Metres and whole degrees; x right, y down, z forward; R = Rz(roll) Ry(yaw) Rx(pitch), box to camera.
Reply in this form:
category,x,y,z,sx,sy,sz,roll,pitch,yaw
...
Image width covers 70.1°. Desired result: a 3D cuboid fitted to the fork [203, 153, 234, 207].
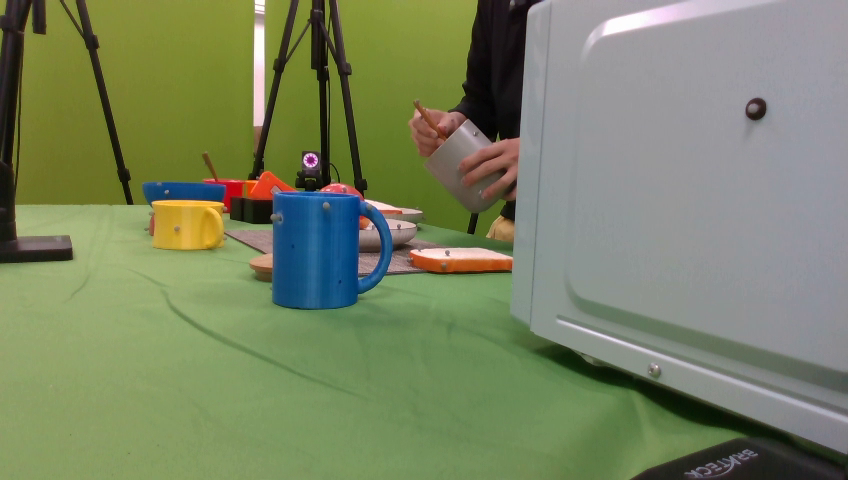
category,x,y,z,sx,sy,sz,roll,pitch,yaw
fork,-0.480,-0.135,1.411,0.028,0.018,0.207,1,-34,0

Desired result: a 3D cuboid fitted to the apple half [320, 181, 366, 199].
category,x,y,z,sx,sy,sz,roll,pitch,yaw
apple half,-0.130,-0.077,0.952,0.081,0.033,0.081,3,15,-1

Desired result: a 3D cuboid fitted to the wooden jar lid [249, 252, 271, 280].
category,x,y,z,sx,sy,sz,roll,pitch,yaw
wooden jar lid,-0.148,0.028,0.708,0.108,0.020,0.108,-1,9,0

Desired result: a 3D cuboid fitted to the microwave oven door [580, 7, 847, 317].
category,x,y,z,sx,sy,sz,roll,pitch,yaw
microwave oven door,0.295,-0.067,0.570,0.358,0.243,0.039,-3,8,-31

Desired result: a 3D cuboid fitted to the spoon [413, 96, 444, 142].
category,x,y,z,sx,sy,sz,roll,pitch,yaw
spoon,0.033,-0.147,0.978,0.021,0.194,0.041,-27,14,2

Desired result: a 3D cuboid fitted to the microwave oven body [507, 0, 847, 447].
category,x,y,z,sx,sy,sz,roll,pitch,yaw
microwave oven body,0.331,-0.042,0.425,0.444,0.260,0.324,-2,8,-31

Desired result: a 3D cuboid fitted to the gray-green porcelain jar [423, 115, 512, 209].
category,x,y,z,sx,sy,sz,roll,pitch,yaw
gray-green porcelain jar,0.079,-0.121,0.978,0.126,0.106,0.106,44,6,-5

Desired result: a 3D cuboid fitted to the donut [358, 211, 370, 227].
category,x,y,z,sx,sy,sz,roll,pitch,yaw
donut,-0.132,-0.042,0.959,0.099,0.048,0.099,3,7,0

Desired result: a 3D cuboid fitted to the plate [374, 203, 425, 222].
category,x,y,z,sx,sy,sz,roll,pitch,yaw
plate,-0.102,-0.053,1.299,0.209,0.038,0.209,2,8,0

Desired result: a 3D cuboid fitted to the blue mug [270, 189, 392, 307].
category,x,y,z,sx,sy,sz,roll,pitch,yaw
blue mug,-0.090,0.005,0.588,0.117,0.106,0.082,1,7,-11

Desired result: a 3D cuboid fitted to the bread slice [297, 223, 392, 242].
category,x,y,z,sx,sy,sz,roll,pitch,yaw
bread slice,-0.121,-0.013,0.970,0.106,0.018,0.135,9,10,41

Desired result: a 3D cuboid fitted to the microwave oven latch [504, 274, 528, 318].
category,x,y,z,sx,sy,sz,roll,pitch,yaw
microwave oven latch,0.100,0.041,0.471,0.079,0.029,0.030,-1,7,-27

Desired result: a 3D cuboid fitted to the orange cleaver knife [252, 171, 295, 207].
category,x,y,z,sx,sy,sz,roll,pitch,yaw
orange cleaver knife,-0.283,-0.087,1.343,0.212,0.077,0.012,24,-16,-41

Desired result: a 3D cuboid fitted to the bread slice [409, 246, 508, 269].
category,x,y,z,sx,sy,sz,roll,pitch,yaw
bread slice,0.048,0.021,0.816,0.132,0.019,0.104,0,7,-24

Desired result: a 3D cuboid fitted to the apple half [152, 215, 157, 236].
category,x,y,z,sx,sy,sz,roll,pitch,yaw
apple half,-0.415,-0.034,1.017,0.081,0.053,0.074,1,10,-9

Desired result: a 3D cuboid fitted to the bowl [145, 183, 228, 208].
category,x,y,z,sx,sy,sz,roll,pitch,yaw
bowl,-0.459,-0.069,1.175,0.151,0.077,0.151,2,7,0

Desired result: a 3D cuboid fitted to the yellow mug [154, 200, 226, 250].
category,x,y,z,sx,sy,sz,roll,pitch,yaw
yellow mug,-0.337,-0.022,0.899,0.130,0.064,0.100,8,9,34

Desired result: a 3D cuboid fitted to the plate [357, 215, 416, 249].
category,x,y,z,sx,sy,sz,roll,pitch,yaw
plate,-0.116,-0.014,0.967,0.208,0.039,0.207,2,7,0
